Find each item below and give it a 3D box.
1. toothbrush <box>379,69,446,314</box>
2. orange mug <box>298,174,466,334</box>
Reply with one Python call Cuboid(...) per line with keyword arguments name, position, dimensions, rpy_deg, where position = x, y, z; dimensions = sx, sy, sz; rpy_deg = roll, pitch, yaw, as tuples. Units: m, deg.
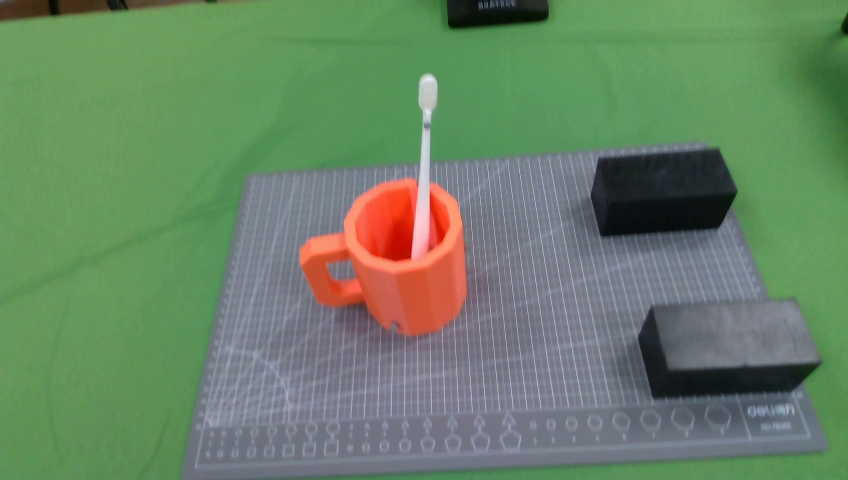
Cuboid(name="toothbrush", position=(-0.009, -0.030, 0.438), dimensions=(0.016, 0.182, 0.014), rpy_deg=(22, 16, 35))
Cuboid(name="orange mug", position=(-0.030, 0.015, 0.468), dimensions=(0.126, 0.102, 0.082), rpy_deg=(-8, 54, -5))
